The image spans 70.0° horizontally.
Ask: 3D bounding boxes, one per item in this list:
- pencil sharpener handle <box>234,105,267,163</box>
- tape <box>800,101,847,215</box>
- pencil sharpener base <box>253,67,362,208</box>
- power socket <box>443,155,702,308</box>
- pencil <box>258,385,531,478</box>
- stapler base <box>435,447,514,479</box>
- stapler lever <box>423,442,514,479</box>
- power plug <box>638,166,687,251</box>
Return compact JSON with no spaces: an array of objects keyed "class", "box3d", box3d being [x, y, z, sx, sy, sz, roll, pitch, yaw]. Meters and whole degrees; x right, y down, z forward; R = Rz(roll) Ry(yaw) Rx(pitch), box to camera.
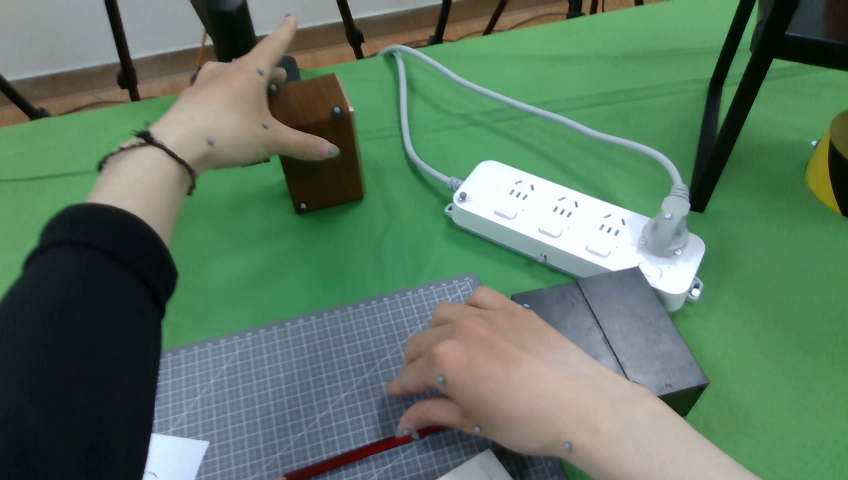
[{"class":"pencil sharpener handle","box3d":[-0.154,-0.087,0.526,0.031,0.068,0.036,-16,73,-11]},{"class":"tape","box3d":[0.415,-0.073,0.551,0.117,0.053,0.115,-1,51,1]},{"class":"pencil sharpener base","box3d":[-0.103,-0.088,0.543,0.077,0.108,0.060,-16,52,-11]},{"class":"power socket","box3d":[0.125,-0.012,0.521,0.225,0.033,0.072,24,54,21]},{"class":"pencil","box3d":[-0.017,0.132,0.416,0.194,0.012,0.012,-15,51,-10]},{"class":"stapler base","box3d":[0.000,0.173,0.372,0.131,0.024,0.041,-27,55,-21]},{"class":"stapler lever","box3d":[0.000,0.156,0.354,0.118,0.040,0.026,-27,55,-20]},{"class":"power plug","box3d":[0.203,-0.018,0.494,0.035,0.053,0.072,34,59,26]}]
